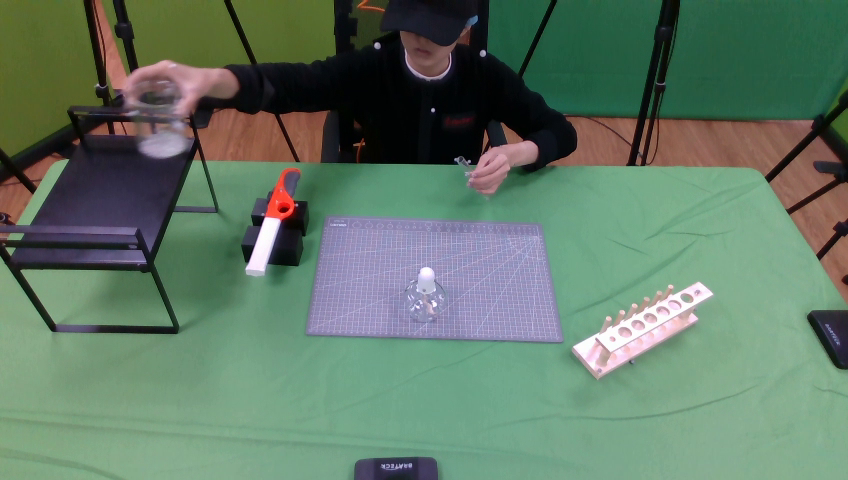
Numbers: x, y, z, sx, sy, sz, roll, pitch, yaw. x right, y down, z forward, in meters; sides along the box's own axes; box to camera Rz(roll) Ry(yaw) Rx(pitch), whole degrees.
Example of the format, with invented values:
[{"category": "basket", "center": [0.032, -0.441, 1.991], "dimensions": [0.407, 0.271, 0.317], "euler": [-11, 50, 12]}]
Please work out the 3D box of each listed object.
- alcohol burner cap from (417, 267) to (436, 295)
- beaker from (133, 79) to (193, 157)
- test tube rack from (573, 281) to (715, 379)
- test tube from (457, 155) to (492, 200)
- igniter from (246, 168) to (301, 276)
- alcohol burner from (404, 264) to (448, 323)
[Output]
[{"category": "alcohol burner cap", "center": [0.004, 0.066, 1.019], "dimensions": [0.034, 0.048, 0.033], "euler": [0, 47, 1]}, {"category": "beaker", "center": [-0.394, -0.184, 0.932], "dimensions": [0.084, 0.100, 0.074], "euler": [22, 43, 10]}, {"category": "test tube rack", "center": [0.378, 0.140, 1.038], "dimensions": [0.242, 0.085, 0.066], "euler": [-22, 51, -23]}, {"category": "test tube", "center": [0.103, -0.122, 1.208], "dimensions": [0.017, 0.151, 0.017], "euler": [-14, 57, 23]}, {"category": "igniter", "center": [-0.282, -0.044, 1.149], "dimensions": [0.057, 0.025, 0.275], "euler": [8, 48, -1]}, {"category": "alcohol burner", "center": [0.003, 0.087, 1.042], "dimensions": [0.078, 0.120, 0.077], "euler": [1, 45, 0]}]
